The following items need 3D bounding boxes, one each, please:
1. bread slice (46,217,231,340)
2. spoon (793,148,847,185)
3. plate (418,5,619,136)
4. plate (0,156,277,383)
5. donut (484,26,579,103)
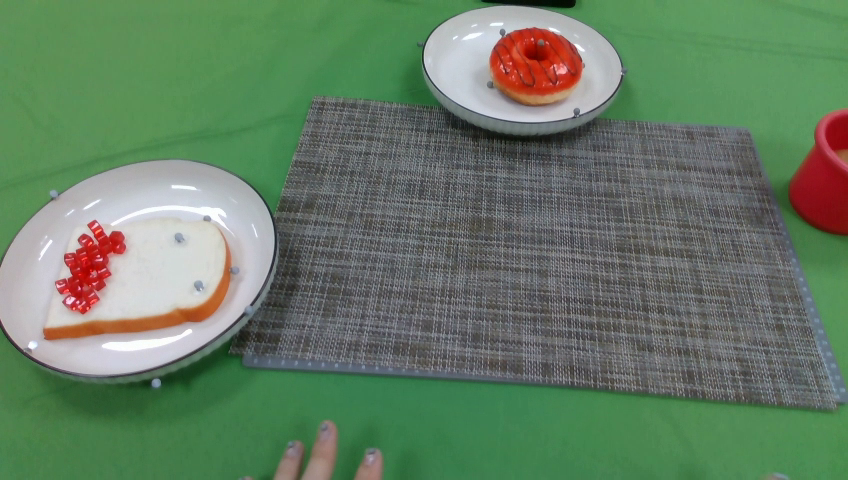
[{"bbox_3d":[-0.221,0.024,0.481,0.132,0.019,0.104,-6,53,-5],"label":"bread slice"},{"bbox_3d":[0.411,-0.075,0.500,0.193,0.022,0.041,-8,36,45],"label":"spoon"},{"bbox_3d":[0.097,-0.176,0.638,0.208,0.039,0.205,1,51,-1],"label":"plate"},{"bbox_3d":[-0.220,0.019,0.481,0.209,0.038,0.207,1,53,-1],"label":"plate"},{"bbox_3d":[0.111,-0.181,0.627,0.099,0.048,0.098,2,54,-2],"label":"donut"}]
